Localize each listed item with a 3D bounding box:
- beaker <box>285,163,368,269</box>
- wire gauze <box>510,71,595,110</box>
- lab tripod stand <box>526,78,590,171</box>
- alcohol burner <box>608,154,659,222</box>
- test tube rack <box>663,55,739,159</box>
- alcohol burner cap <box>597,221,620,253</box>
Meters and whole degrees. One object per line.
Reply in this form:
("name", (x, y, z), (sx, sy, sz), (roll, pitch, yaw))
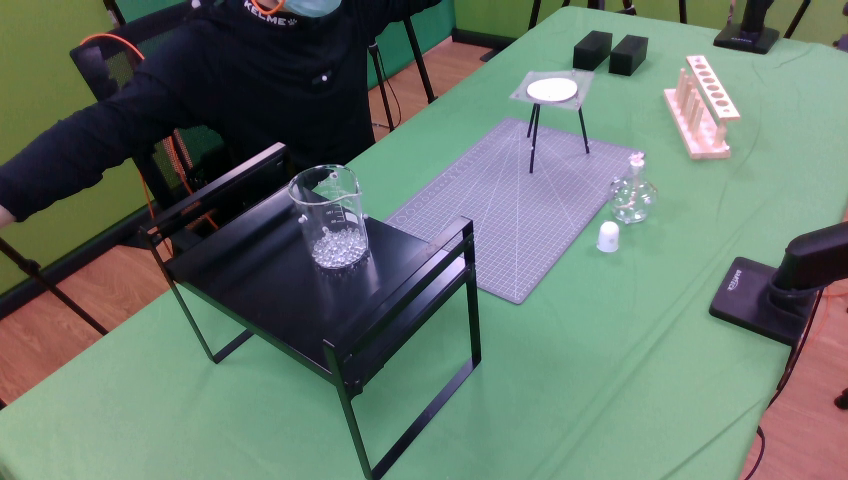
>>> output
("beaker", (-0.102, -0.024, 0.676), (0.083, 0.101, 0.074), (8, 44, 16))
("wire gauze", (0.224, -0.267, 1.053), (0.124, 0.011, 0.121), (12, 44, 23))
("lab tripod stand", (0.228, -0.216, 1.097), (0.148, 0.132, 0.147), (-6, 40, 5))
("alcohol burner", (0.333, -0.087, 0.954), (0.078, 0.119, 0.077), (-3, 42, 3))
("test tube rack", (0.518, -0.256, 1.144), (0.066, 0.085, 0.241), (-1, 41, 8))
("alcohol burner cap", (0.283, -0.007, 0.924), (0.034, 0.048, 0.033), (-4, 39, 4))
